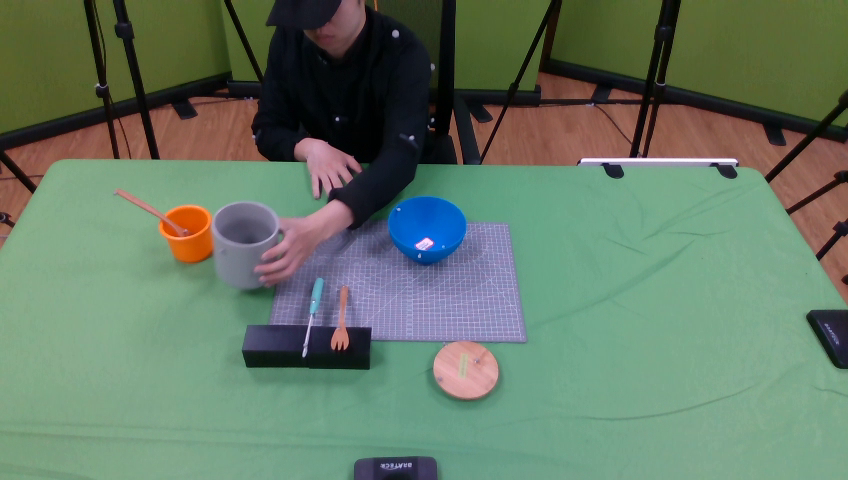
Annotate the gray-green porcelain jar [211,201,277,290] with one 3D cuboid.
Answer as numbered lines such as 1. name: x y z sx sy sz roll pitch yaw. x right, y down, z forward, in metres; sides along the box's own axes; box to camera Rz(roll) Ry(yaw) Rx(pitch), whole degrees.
1. gray-green porcelain jar: -0.305 0.014 1.032 0.106 0.127 0.105 8 46 -8

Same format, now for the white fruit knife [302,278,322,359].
1. white fruit knife: -0.189 0.126 1.020 0.016 0.027 0.206 0 33 -3

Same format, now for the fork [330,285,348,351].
1. fork: -0.140 0.127 1.021 0.028 0.019 0.206 -4 28 -3

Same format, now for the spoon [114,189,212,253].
1. spoon: -0.475 -0.036 1.108 0.021 0.195 0.041 -29 33 32

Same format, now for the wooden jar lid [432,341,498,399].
1. wooden jar lid: 0.067 0.216 0.997 0.108 0.021 0.107 1 46 -1

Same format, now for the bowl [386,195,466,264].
1. bowl: 0.002 -0.007 1.162 0.151 0.077 0.150 2 46 -2
